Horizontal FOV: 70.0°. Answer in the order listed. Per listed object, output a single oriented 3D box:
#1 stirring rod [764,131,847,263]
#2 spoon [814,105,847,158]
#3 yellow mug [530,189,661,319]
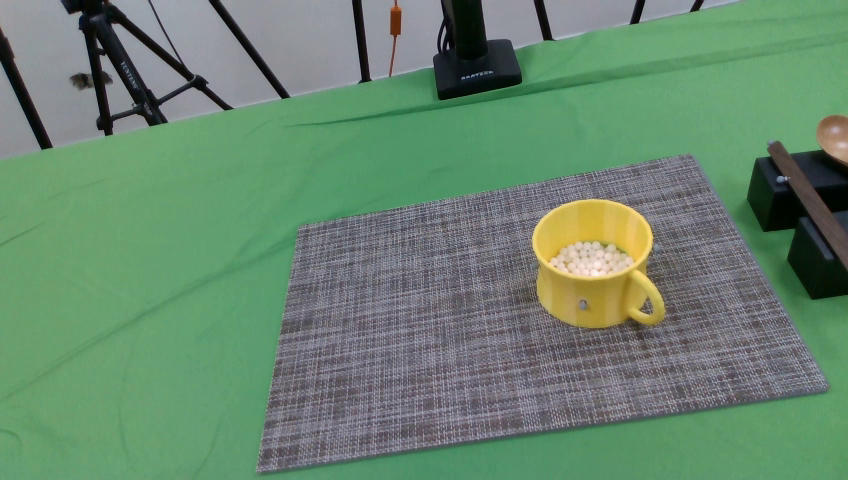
[{"bbox_3d":[0.326,-0.038,0.510,0.014,0.006,0.174,-40,33,32],"label":"stirring rod"},{"bbox_3d":[0.382,-0.048,0.502,0.041,0.022,0.191,-9,46,6],"label":"spoon"},{"bbox_3d":[0.155,0.019,0.530,0.100,0.064,0.129,-32,47,-16],"label":"yellow mug"}]
